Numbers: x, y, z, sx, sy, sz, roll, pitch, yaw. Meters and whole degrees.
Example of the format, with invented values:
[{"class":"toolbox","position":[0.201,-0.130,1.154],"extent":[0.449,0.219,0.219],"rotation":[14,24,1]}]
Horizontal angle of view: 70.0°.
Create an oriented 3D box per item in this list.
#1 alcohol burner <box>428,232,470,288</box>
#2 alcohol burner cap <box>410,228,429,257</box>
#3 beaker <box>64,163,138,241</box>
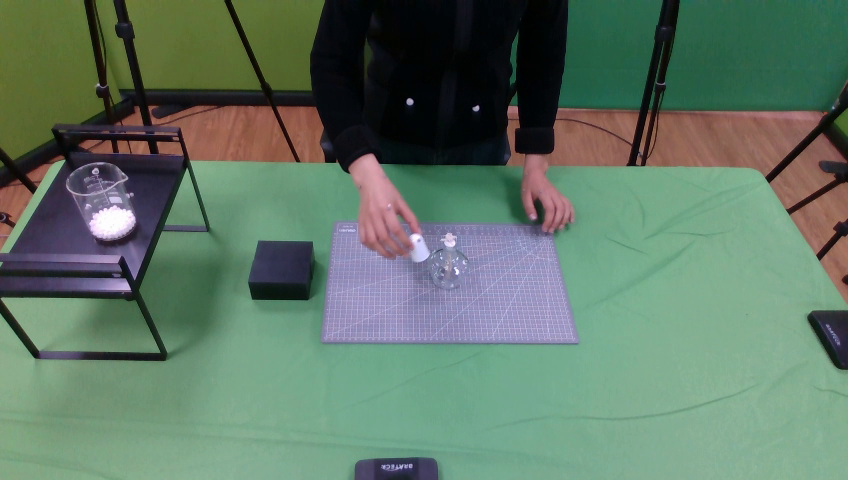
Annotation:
[{"class":"alcohol burner","position":[0.045,0.032,1.099],"extent":[0.078,0.120,0.077],"rotation":[1,46,-1]},{"class":"alcohol burner cap","position":[-0.009,0.002,1.016],"extent":[0.034,0.048,0.033],"rotation":[-2,43,2]},{"class":"beaker","position":[-0.477,-0.055,0.910],"extent":[0.084,0.101,0.073],"rotation":[-9,48,-13]}]
